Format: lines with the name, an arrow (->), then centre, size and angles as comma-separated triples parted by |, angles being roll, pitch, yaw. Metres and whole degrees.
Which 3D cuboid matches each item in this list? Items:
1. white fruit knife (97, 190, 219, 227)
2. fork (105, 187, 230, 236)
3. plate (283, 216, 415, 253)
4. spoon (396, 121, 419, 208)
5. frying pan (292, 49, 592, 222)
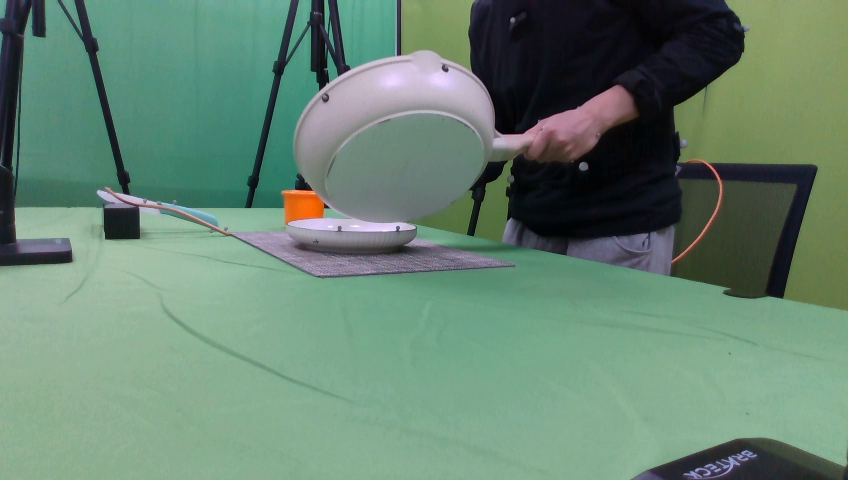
white fruit knife -> -0.468, -0.056, 1.079 | 0.208, 0.027, 0.016 | 15, -2, -29
fork -> -0.428, -0.047, 1.020 | 0.208, 0.018, 0.028 | 19, -8, -26
plate -> -0.119, -0.009, 0.968 | 0.208, 0.039, 0.207 | 3, 7, 0
spoon -> -0.032, -0.127, 0.968 | 0.021, 0.193, 0.042 | -29, -42, 19
frying pan -> 0.059, -0.138, 0.895 | 0.490, 0.102, 0.306 | -10, -32, -26
